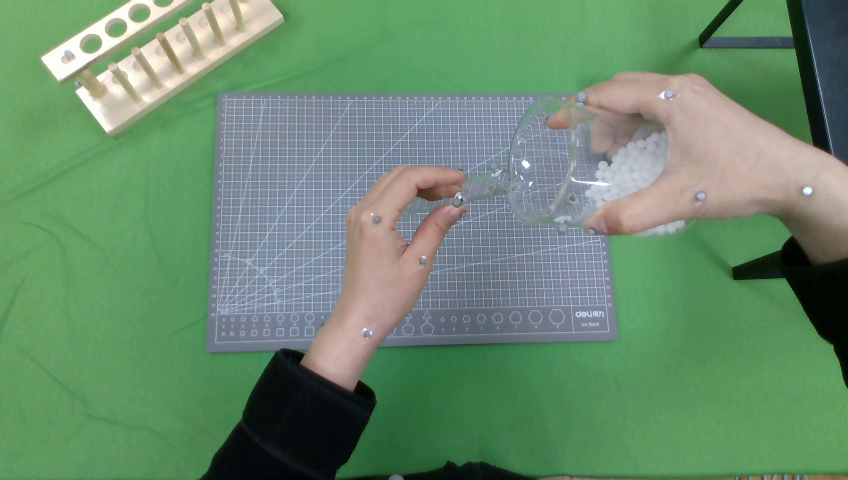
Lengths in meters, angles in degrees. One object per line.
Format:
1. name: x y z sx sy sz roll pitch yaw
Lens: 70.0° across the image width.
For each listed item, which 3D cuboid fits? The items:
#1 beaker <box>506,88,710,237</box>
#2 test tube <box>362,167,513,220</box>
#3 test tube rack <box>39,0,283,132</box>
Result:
1. beaker: 0.108 -0.040 0.362 0.101 0.084 0.073 7 76 -19
2. test tube: 0.003 -0.031 0.436 0.017 0.149 0.017 7 79 -41
3. test tube rack: -0.281 -0.229 0.674 0.242 0.085 0.066 -38 82 -11
